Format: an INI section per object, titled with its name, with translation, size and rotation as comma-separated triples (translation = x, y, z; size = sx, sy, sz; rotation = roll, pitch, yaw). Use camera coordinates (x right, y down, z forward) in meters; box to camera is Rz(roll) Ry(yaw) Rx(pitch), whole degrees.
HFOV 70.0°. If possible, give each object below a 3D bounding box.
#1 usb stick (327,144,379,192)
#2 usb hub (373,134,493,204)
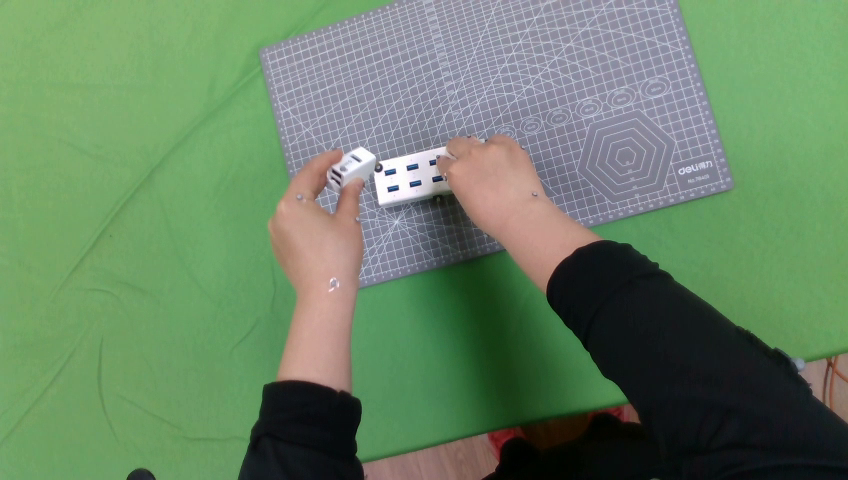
[usb stick]
translation = -0.063, -0.070, 0.563
size = 0.021, 0.059, 0.027
rotation = 30, 133, 22
[usb hub]
translation = 0.007, -0.076, 0.647
size = 0.125, 0.025, 0.049
rotation = -11, 84, 10
